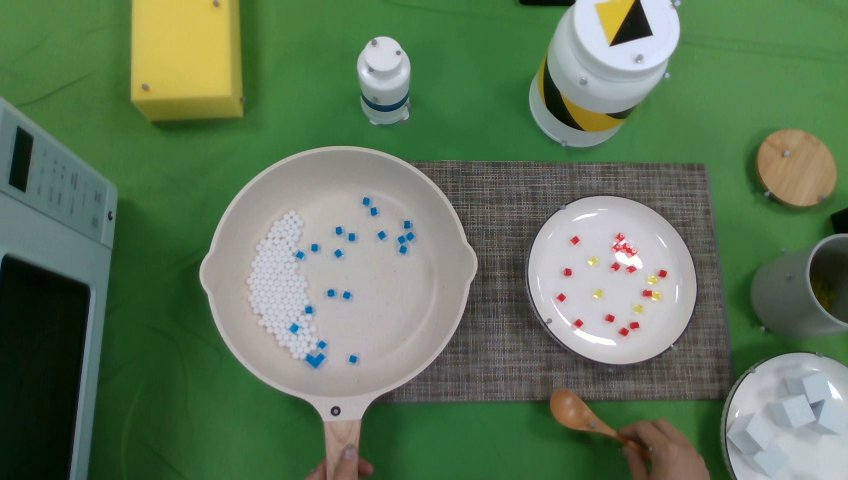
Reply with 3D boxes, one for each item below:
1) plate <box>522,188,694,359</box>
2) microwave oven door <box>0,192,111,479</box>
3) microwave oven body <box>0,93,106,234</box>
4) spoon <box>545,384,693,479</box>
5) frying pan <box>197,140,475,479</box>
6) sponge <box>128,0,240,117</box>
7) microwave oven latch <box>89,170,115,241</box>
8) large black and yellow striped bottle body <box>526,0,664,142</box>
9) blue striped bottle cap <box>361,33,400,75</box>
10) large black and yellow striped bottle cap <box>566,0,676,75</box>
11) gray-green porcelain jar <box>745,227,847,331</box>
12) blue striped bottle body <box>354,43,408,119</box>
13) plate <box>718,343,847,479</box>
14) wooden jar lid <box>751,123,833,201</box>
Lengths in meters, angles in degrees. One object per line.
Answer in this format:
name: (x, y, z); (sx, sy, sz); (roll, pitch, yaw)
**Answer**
plate: (0.221, 0.041, 0.739); (0.209, 0.038, 0.208); (1, 77, -3)
microwave oven door: (-0.374, 0.150, 0.555); (0.039, 0.244, 0.354); (0, 77, -3)
microwave oven body: (-0.520, 0.109, 0.560); (0.326, 0.261, 0.439); (0, 78, -4)
spoon: (0.225, 0.226, 0.701); (0.193, 0.022, 0.041); (29, 59, 6)
frying pan: (-0.094, 0.128, 0.665); (0.307, 0.103, 0.484); (-1, 69, -2)
sponge: (-0.301, -0.265, 0.764); (0.118, 0.061, 0.206); (-5, 78, -5)
microwave oven latch: (-0.379, -0.040, 0.702); (0.030, 0.029, 0.079); (2, 78, -4)
large black and yellow striped bottle body: (0.204, -0.210, 0.724); (0.131, 0.184, 0.130); (1, 76, -3)
blue striped bottle cap: (-0.049, -0.211, 0.686); (0.044, 0.021, 0.044); (1, 74, -2)
large black and yellow striped bottle cap: (0.208, -0.230, 0.641); (0.115, 0.019, 0.114); (1, 76, -3)
gray-green porcelain jar: (0.453, 0.051, 0.711); (0.106, 0.127, 0.105); (1, 77, -3)
blue striped bottle body: (-0.052, -0.200, 0.736); (0.063, 0.121, 0.063); (1, 77, -3)
plate: (0.446, 0.227, 0.717); (0.208, 0.039, 0.206); (1, 77, -3)
wooden jar lid: (0.484, -0.102, 0.802); (0.108, 0.021, 0.108); (1, 79, -3)
